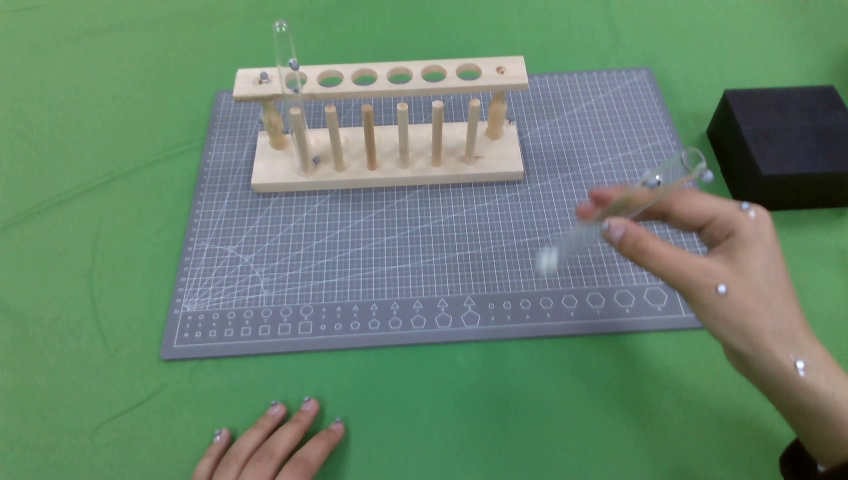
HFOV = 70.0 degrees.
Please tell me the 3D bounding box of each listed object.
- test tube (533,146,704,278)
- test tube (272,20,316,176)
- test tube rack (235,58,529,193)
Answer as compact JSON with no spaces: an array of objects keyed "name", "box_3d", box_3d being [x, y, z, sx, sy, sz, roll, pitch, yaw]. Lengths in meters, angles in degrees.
[{"name":"test tube","box_3d":[0.109,-0.010,0.368,0.017,0.150,0.017,11,60,-19]},{"name":"test tube","box_3d":[-0.102,-0.107,0.482,0.017,0.152,0.017,1,54,-2]},{"name":"test tube rack","box_3d":[-0.033,-0.099,0.530,0.242,0.086,0.066,-3,54,-1]}]
